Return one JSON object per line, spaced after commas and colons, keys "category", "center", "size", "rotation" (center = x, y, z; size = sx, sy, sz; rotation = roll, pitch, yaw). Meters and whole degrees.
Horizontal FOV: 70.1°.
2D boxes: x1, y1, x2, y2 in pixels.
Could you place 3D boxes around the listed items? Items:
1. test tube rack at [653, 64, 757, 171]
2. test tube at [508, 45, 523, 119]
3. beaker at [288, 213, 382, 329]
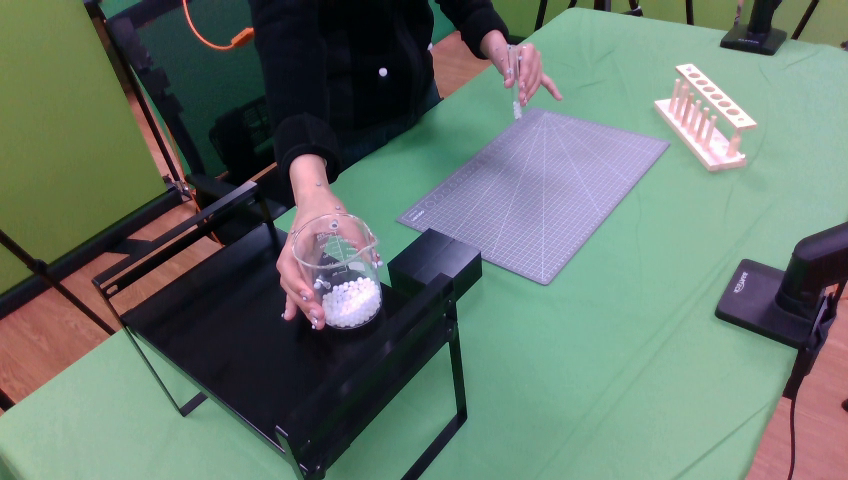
{"category": "test tube rack", "center": [0.510, -0.233, 1.119], "size": [0.067, 0.085, 0.241], "rotation": [-8, 41, -2]}
{"category": "test tube", "center": [0.151, -0.257, 0.997], "size": [0.017, 0.151, 0.017], "rotation": [-6, 55, 9]}
{"category": "beaker", "center": [-0.080, 0.033, 0.599], "size": [0.084, 0.101, 0.073], "rotation": [-3, 45, 5]}
